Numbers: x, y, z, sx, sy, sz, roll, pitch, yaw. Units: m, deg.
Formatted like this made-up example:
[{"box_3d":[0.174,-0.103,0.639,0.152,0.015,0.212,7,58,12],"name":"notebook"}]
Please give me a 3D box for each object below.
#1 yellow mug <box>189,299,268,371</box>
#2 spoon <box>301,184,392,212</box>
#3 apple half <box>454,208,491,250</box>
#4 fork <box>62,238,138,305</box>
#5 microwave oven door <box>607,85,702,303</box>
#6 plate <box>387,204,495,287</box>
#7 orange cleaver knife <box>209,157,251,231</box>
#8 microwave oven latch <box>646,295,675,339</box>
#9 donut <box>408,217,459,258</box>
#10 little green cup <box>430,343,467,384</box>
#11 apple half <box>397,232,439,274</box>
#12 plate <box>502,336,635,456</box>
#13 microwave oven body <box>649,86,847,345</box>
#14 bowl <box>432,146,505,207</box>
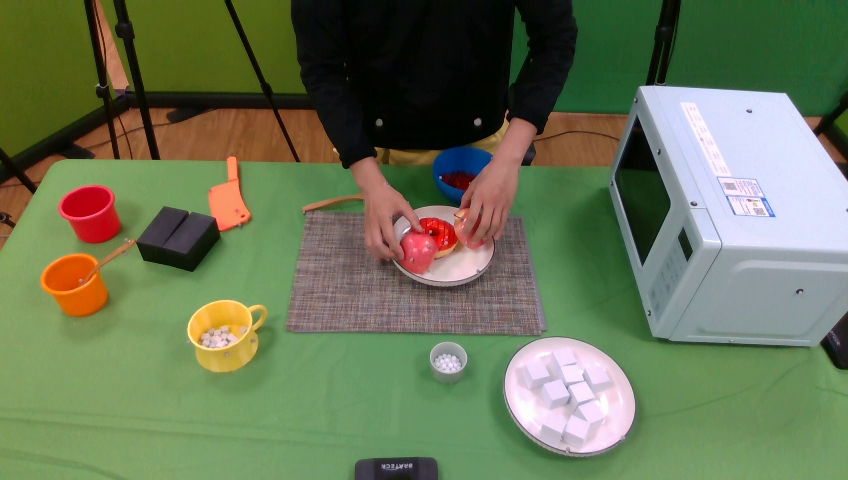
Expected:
[{"box_3d":[-0.316,0.148,1.002,0.131,0.064,0.099,-33,56,-31],"name":"yellow mug"},{"box_3d":[-0.162,-0.086,1.270,0.194,0.022,0.041,-11,63,-15],"name":"spoon"},{"box_3d":[0.098,-0.026,1.165,0.053,0.075,0.080,-31,23,23],"name":"apple half"},{"box_3d":[-0.547,0.053,1.018,0.207,0.019,0.028,-36,41,23],"name":"fork"},{"box_3d":[0.423,-0.094,1.141,0.039,0.245,0.353,2,46,-1],"name":"microwave oven door"},{"box_3d":[0.033,0.014,1.171,0.209,0.038,0.208,2,46,-2],"name":"plate"},{"box_3d":[-0.409,-0.099,1.266,0.077,0.012,0.210,-14,50,-10],"name":"orange cleaver knife"},{"box_3d":[0.412,0.134,1.061,0.030,0.029,0.078,4,45,1],"name":"microwave oven latch"},{"box_3d":[0.018,-0.006,1.173,0.099,0.048,0.098,6,41,-5],"name":"donut"},{"box_3d":[0.039,0.203,0.994,0.061,0.039,0.061,2,46,-2],"name":"little green cup"},{"box_3d":[-0.014,0.022,1.121,0.081,0.033,0.081,0,86,5],"name":"apple half"},{"box_3d":[0.225,0.248,0.964,0.208,0.039,0.206,2,46,-2],"name":"plate"},{"box_3d":[0.568,-0.053,1.118,0.326,0.261,0.439,2,45,-1],"name":"microwave oven body"},{"box_3d":[0.091,-0.124,1.286,0.151,0.077,0.150,2,46,-2],"name":"bowl"}]
